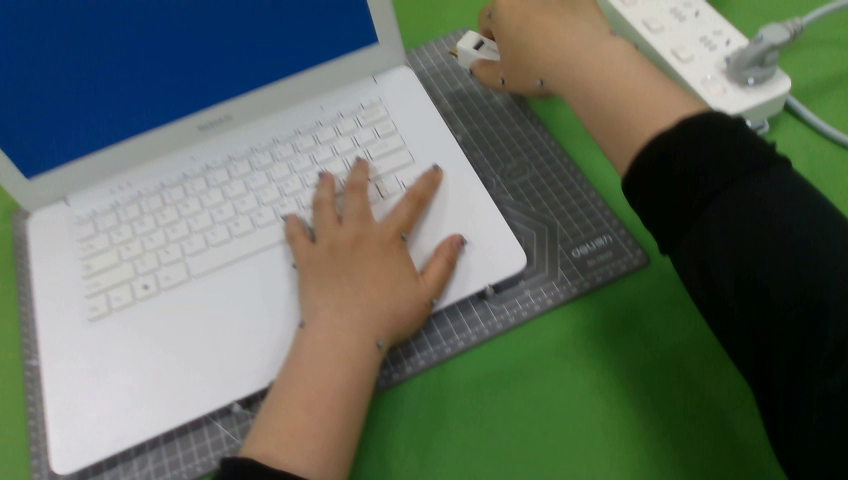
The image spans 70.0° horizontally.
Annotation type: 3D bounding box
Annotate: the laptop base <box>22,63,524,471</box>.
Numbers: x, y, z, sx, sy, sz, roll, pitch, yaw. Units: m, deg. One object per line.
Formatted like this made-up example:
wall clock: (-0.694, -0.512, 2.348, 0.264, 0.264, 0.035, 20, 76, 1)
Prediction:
laptop base: (-0.129, -0.002, 0.477, 0.354, 0.023, 0.233, -24, 62, -7)

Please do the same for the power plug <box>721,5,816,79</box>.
power plug: (0.272, -0.147, 0.476, 0.072, 0.053, 0.035, -14, 60, -1)

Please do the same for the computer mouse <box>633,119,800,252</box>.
computer mouse: (0.212, -0.047, 0.444, 0.063, 0.041, 0.116, -29, 56, -8)

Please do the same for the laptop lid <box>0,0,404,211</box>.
laptop lid: (-0.201, -0.170, 0.453, 0.357, 0.244, 0.013, -25, 46, -6)

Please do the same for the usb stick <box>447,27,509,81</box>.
usb stick: (0.043, -0.160, 0.511, 0.058, 0.027, 0.021, 36, 72, 29)

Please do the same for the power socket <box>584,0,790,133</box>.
power socket: (0.219, -0.180, 0.528, 0.072, 0.033, 0.224, -23, 58, -6)
